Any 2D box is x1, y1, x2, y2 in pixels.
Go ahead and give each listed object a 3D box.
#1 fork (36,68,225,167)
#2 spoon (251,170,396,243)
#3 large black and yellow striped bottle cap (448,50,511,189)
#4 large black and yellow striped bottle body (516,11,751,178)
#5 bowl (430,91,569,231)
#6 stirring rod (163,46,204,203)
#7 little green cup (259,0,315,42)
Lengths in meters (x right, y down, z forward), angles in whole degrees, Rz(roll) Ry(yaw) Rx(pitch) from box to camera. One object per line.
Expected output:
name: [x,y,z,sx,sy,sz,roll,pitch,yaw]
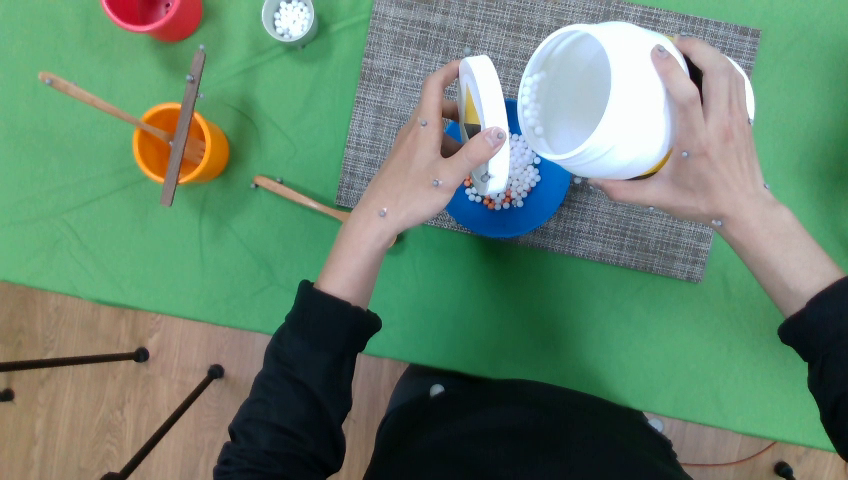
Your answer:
fork: [-0.321,-0.135,0.680,0.209,0.018,0.028,27,99,-42]
spoon: [-0.123,-0.046,0.736,0.194,0.021,0.042,23,109,1]
large black and yellow striped bottle cap: [0.044,-0.100,0.510,0.019,0.114,0.115,-8,93,-13]
large black and yellow striped bottle body: [0.185,-0.126,0.542,0.185,0.130,0.131,0,94,-35]
bowl: [0.084,-0.087,0.688,0.151,0.077,0.151,0,94,4]
stirring rod: [-0.268,-0.127,0.674,0.014,0.006,0.176,13,95,4]
little green cup: [-0.159,-0.265,0.715,0.061,0.038,0.061,0,94,5]
